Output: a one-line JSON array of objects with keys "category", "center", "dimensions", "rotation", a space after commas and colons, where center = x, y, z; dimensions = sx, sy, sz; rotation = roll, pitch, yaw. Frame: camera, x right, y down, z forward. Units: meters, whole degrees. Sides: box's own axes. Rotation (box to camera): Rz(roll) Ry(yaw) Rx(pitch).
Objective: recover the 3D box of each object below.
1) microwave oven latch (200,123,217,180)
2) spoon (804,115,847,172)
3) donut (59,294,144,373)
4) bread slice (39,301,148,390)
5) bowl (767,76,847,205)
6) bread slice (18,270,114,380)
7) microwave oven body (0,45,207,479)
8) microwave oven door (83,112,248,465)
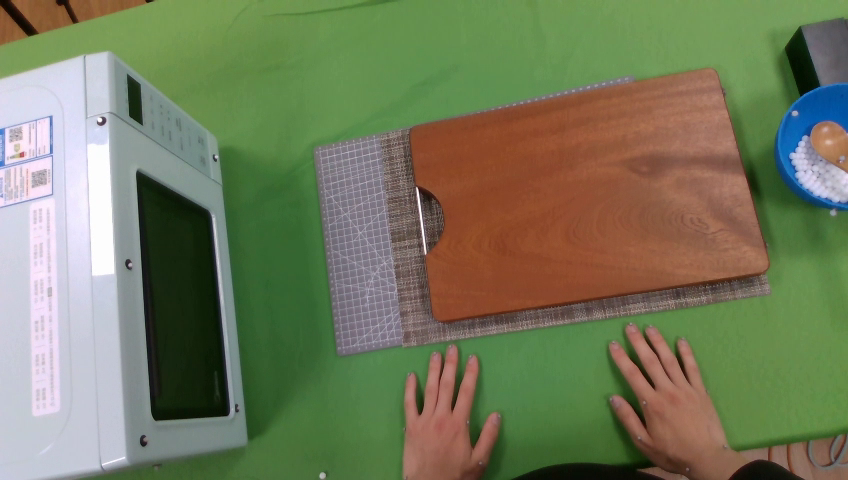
[{"category": "microwave oven latch", "center": [-0.312, -0.122, 0.850], "dimensions": [0.030, 0.029, 0.078], "rotation": [-13, 76, 6]}, {"category": "spoon", "center": [0.476, -0.066, 0.666], "dimensions": [0.041, 0.022, 0.191], "rotation": [-11, 52, 5]}, {"category": "donut", "center": [-0.395, 0.114, 0.743], "dimensions": [0.099, 0.048, 0.099], "rotation": [0, 91, -3]}, {"category": "bread slice", "center": [-0.424, 0.130, 0.769], "dimensions": [0.131, 0.019, 0.104], "rotation": [6, 81, 7]}, {"category": "bowl", "center": [0.472, -0.105, 0.707], "dimensions": [0.151, 0.077, 0.150], "rotation": [-2, 77, 10]}, {"category": "bread slice", "center": [-0.416, 0.107, 0.700], "dimensions": [0.134, 0.018, 0.106], "rotation": [-22, 76, 18]}, {"category": "microwave oven body", "center": [-0.440, 0.056, 0.731], "dimensions": [0.326, 0.261, 0.439], "rotation": [-13, 76, 6]}, {"category": "microwave oven door", "center": [-0.292, 0.062, 0.698], "dimensions": [0.039, 0.245, 0.353], "rotation": [-13, 75, 7]}]
